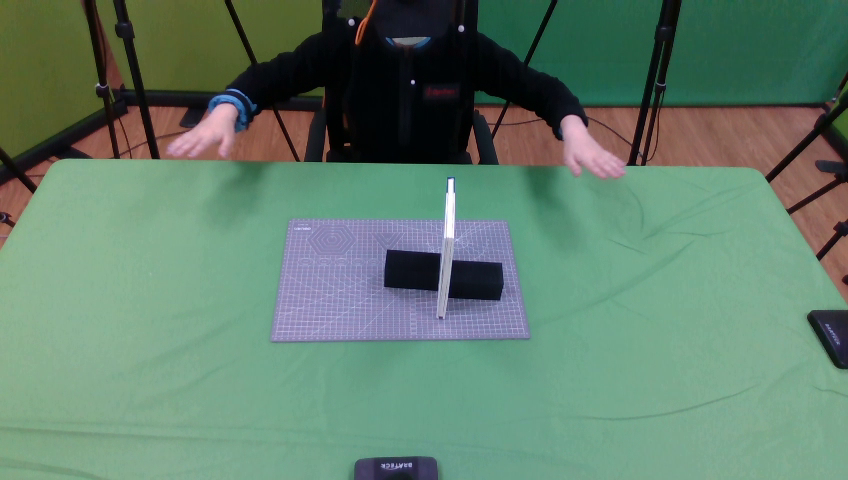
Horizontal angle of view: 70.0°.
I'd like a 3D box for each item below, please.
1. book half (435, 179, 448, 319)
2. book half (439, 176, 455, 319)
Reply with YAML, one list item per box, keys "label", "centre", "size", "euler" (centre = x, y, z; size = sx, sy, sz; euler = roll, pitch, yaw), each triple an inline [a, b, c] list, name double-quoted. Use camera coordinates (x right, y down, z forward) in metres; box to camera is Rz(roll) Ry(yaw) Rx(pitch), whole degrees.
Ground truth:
- label: "book half"
  centre: [0.031, 0.019, 1.045]
  size: [0.007, 0.211, 0.142]
  euler: [4, 46, 1]
- label: "book half"
  centre: [0.038, 0.017, 1.047]
  size: [0.016, 0.211, 0.147]
  euler: [3, 46, 0]
